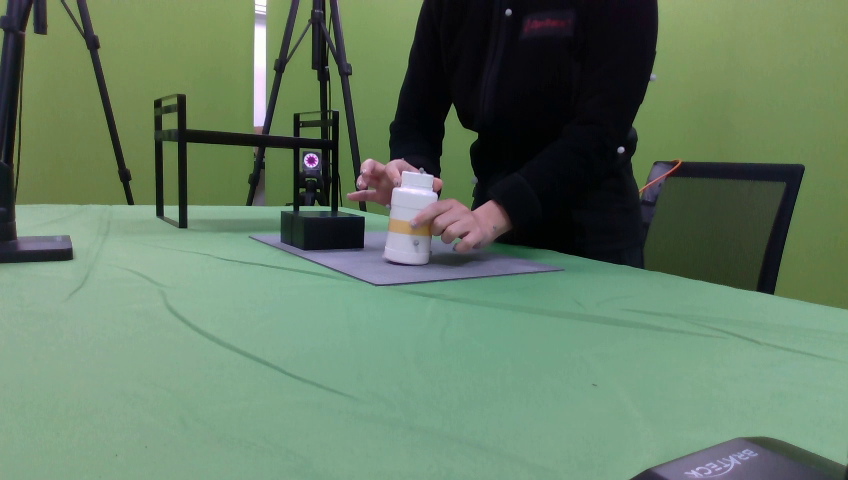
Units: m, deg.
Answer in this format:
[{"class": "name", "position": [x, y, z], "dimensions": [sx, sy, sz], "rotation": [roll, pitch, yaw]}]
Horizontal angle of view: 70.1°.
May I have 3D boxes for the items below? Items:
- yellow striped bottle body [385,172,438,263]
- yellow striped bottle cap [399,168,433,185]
[{"class": "yellow striped bottle body", "position": [-0.016, -0.033, 0.813], "dimensions": [0.063, 0.120, 0.063], "rotation": [7, 10, -1]}, {"class": "yellow striped bottle cap", "position": [-0.010, -0.083, 0.806], "dimensions": [0.044, 0.018, 0.044], "rotation": [9, 10, -1]}]
